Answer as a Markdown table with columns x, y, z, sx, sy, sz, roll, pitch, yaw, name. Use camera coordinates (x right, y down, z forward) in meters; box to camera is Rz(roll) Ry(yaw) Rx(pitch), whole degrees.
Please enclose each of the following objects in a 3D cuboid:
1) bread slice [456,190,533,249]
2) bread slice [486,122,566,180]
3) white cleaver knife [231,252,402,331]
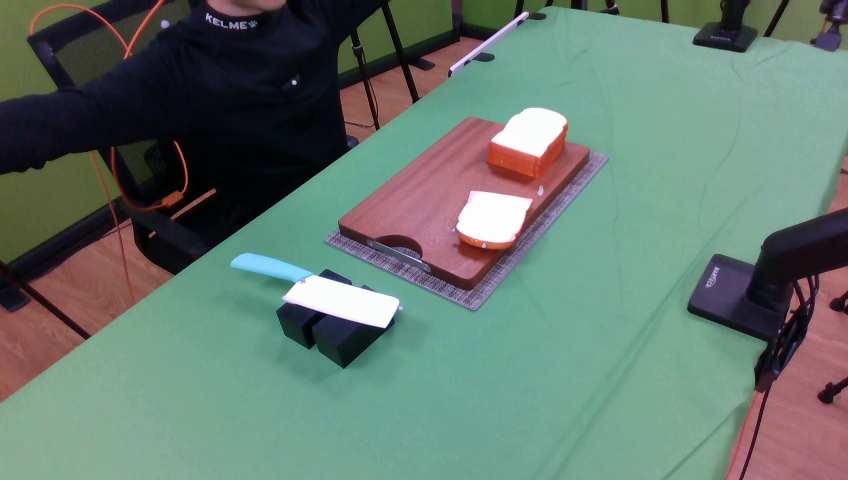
| x | y | z | sx | sy | sz | roll | pitch | yaw | name |
| --- | --- | --- | --- | --- | --- | --- | --- | --- | --- |
| 0.105 | -0.032 | 0.945 | 0.104 | 0.019 | 0.131 | 11 | 40 | 16 | bread slice |
| 0.194 | -0.167 | 1.091 | 0.106 | 0.018 | 0.134 | 28 | 56 | 29 | bread slice |
| -0.163 | 0.068 | 0.849 | 0.284 | 0.021 | 0.066 | 13 | 44 | 25 | white cleaver knife |
